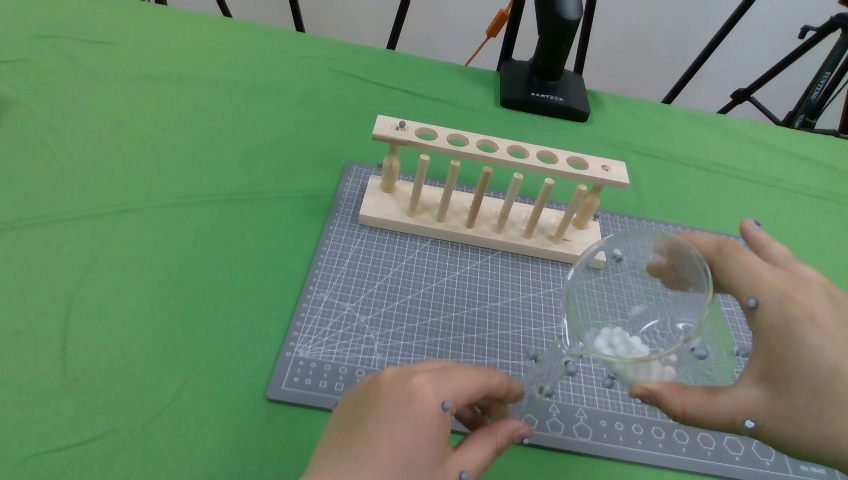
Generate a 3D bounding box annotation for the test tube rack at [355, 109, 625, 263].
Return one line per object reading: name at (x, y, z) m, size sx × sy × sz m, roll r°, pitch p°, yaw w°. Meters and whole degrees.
test tube rack at (0.062, -0.051, 0.584) m, size 0.242 × 0.086 × 0.066 m, roll 11°, pitch 43°, yaw -3°

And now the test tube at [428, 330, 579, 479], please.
test tube at (0.041, 0.104, 0.354) m, size 0.017 × 0.151 × 0.017 m, roll 22°, pitch 34°, yaw -16°

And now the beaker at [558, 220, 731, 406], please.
beaker at (0.125, 0.048, 0.339) m, size 0.084 × 0.101 × 0.073 m, roll -41°, pitch 46°, yaw 6°
